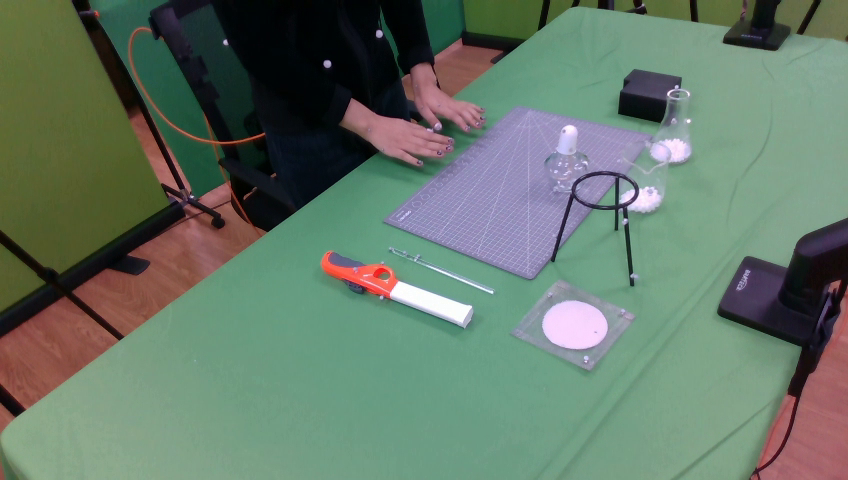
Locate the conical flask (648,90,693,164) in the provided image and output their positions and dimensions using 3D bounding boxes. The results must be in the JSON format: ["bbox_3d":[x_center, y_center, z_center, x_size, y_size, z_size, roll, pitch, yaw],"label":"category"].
[{"bbox_3d":[0.437,-0.199,1.057,0.075,0.122,0.075,-5,40,5],"label":"conical flask"}]

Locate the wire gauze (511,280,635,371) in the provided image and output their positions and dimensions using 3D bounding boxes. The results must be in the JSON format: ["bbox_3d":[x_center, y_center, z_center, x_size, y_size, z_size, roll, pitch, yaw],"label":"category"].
[{"bbox_3d":[0.203,0.114,0.822,0.120,0.011,0.125,25,52,35],"label":"wire gauze"}]

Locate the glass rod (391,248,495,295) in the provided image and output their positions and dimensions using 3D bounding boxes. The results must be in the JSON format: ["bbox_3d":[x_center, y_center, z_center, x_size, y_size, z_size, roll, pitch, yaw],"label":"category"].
[{"bbox_3d":[0.026,0.046,0.937,0.198,0.008,0.008,22,50,31],"label":"glass rod"}]

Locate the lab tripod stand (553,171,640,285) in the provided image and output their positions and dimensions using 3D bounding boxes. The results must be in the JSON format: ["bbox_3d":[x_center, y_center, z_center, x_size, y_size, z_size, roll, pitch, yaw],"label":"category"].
[{"bbox_3d":[0.260,-0.025,0.877,0.148,0.132,0.147,-6,38,5],"label":"lab tripod stand"}]

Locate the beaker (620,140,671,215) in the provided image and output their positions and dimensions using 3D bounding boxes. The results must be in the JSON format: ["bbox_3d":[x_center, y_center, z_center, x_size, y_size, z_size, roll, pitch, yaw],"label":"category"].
[{"bbox_3d":[0.352,-0.096,0.971,0.074,0.101,0.084,1,42,13],"label":"beaker"}]

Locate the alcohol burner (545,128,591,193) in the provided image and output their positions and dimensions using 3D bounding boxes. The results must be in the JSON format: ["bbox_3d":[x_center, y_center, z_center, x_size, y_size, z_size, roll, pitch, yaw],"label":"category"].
[{"bbox_3d":[0.245,-0.141,1.028,0.078,0.119,0.077,-5,42,5],"label":"alcohol burner"}]

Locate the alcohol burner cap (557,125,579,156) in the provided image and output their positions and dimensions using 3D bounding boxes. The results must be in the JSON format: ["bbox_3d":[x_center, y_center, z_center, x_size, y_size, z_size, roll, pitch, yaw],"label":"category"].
[{"bbox_3d":[0.241,-0.167,1.004,0.034,0.048,0.033,0,39,1],"label":"alcohol burner cap"}]

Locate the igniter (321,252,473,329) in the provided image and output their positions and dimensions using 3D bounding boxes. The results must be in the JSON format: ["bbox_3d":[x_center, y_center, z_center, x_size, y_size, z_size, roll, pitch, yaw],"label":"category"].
[{"bbox_3d":[-0.051,0.071,0.906,0.274,0.025,0.057,18,58,29],"label":"igniter"}]
